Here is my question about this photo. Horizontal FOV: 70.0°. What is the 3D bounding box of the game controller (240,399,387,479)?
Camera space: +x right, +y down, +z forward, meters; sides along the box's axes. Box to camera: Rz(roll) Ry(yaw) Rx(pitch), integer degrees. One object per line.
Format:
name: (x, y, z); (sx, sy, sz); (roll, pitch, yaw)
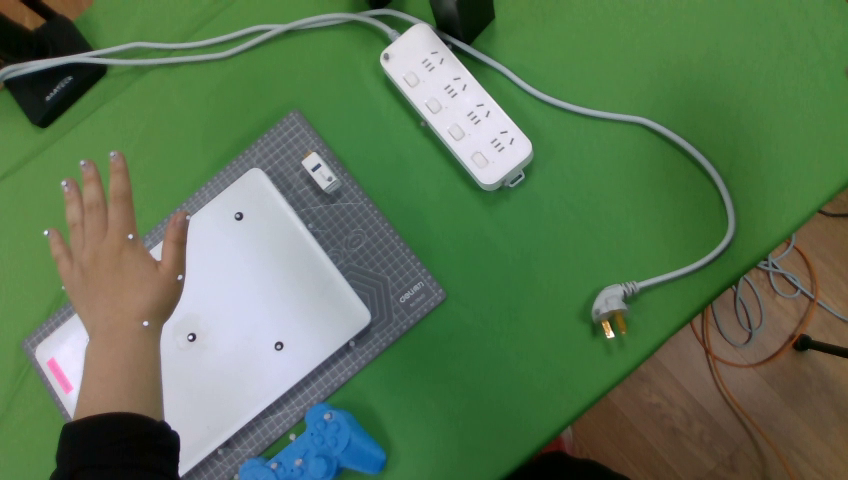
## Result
game controller: (-0.125, 0.242, 0.646); (0.155, 0.052, 0.096); (-39, 72, 2)

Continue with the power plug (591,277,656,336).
power plug: (0.206, 0.066, 0.616); (0.072, 0.035, 0.052); (-25, 58, 18)

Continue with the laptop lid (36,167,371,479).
laptop lid: (-0.260, 0.109, 0.693); (0.357, 0.013, 0.240); (-38, 79, 3)

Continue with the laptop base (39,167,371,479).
laptop base: (-0.259, 0.109, 0.705); (0.354, 0.023, 0.234); (-39, 80, 2)

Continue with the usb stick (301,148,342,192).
usb stick: (-0.123, -0.085, 0.705); (0.021, 0.027, 0.059); (-41, 75, 5)

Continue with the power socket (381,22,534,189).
power socket: (0.036, -0.153, 0.686); (0.072, 0.033, 0.225); (-39, 76, 4)
